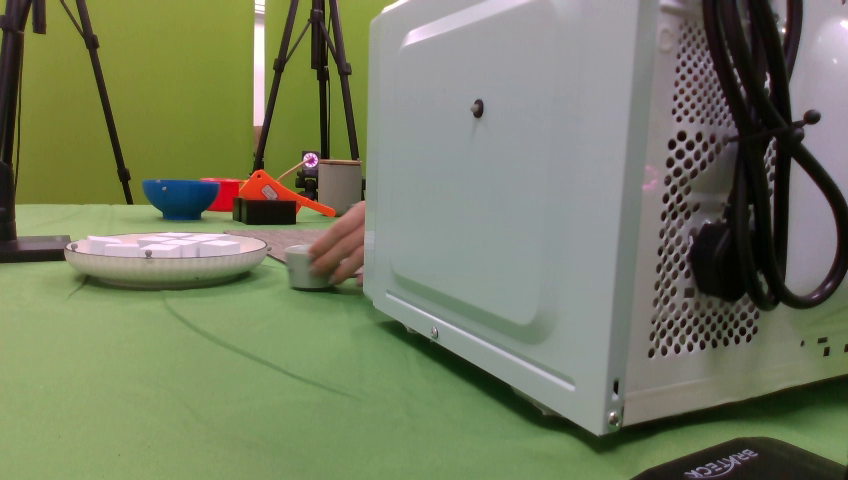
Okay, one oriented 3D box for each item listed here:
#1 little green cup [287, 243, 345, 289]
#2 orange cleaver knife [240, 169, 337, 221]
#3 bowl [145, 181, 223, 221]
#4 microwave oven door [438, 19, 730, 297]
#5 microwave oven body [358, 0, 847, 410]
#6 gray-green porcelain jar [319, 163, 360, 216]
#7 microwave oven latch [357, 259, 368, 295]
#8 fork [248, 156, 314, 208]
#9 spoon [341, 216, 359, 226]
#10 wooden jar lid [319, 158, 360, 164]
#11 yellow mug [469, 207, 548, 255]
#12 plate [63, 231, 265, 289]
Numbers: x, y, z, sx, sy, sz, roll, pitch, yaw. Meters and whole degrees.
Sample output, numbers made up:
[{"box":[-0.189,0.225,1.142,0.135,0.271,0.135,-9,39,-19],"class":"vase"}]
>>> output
[{"box":[-0.118,0.028,0.648,0.061,0.038,0.061,8,8,-1],"class":"little green cup"},{"box":[-0.287,-0.082,1.298,0.212,0.077,0.012,25,-2,-31],"class":"orange cleaver knife"},{"box":[-0.499,-0.081,1.261,0.151,0.077,0.151,2,7,0],"class":"bowl"},{"box":[0.181,-0.076,0.618,0.358,0.243,0.039,-2,9,-28],"class":"microwave oven door"},{"box":[0.210,-0.051,0.471,0.444,0.260,0.324,-1,7,-28],"class":"microwave oven body"},{"box":[-0.204,-0.126,1.490,0.106,0.126,0.106,1,8,0],"class":"gray-green porcelain jar"},{"box":[-0.019,0.031,0.530,0.079,0.029,0.030,-1,7,-27],"class":"microwave oven latch"},{"box":[-0.360,-0.147,1.523,0.207,0.019,0.028,-43,19,-6],"class":"fork"},{"box":[-0.132,-0.048,1.305,0.041,0.021,0.194,-14,4,14],"class":"spoon"},{"box":[-0.203,-0.189,1.482,0.108,0.020,0.108,2,10,0],"class":"wooden jar lid"},{"box":[0.136,-0.015,0.950,0.131,0.064,0.099,2,6,-20],"class":"yellow mug"},{"box":[-0.288,0.021,0.687,0.208,0.039,0.207,2,8,0],"class":"plate"}]
